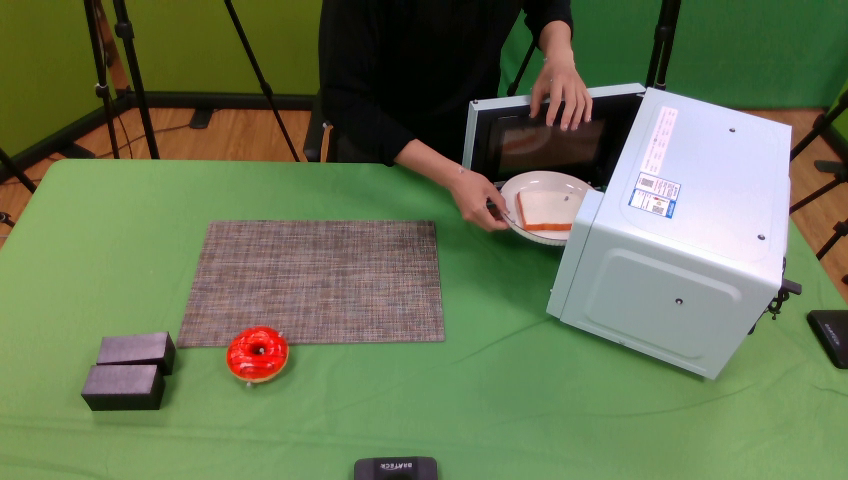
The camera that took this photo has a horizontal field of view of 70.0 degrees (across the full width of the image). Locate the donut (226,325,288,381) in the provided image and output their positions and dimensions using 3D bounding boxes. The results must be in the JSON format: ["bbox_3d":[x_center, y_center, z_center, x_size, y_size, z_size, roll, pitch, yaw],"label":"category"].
[{"bbox_3d":[-0.270,0.182,0.984,0.099,0.048,0.098,5,49,-5],"label":"donut"}]

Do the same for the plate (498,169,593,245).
[{"bbox_3d":[0.243,-0.060,1.160,0.208,0.039,0.206,2,43,-2],"label":"plate"}]

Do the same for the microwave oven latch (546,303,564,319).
[{"bbox_3d":[0.242,0.102,1.081,0.030,0.029,0.079,22,48,17],"label":"microwave oven latch"}]

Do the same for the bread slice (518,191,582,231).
[{"bbox_3d":[0.251,-0.058,1.162,0.131,0.019,0.104,-2,45,-3],"label":"bread slice"}]

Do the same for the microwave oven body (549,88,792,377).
[{"bbox_3d":[0.456,-0.028,1.088,0.325,0.261,0.440,20,47,16],"label":"microwave oven body"}]

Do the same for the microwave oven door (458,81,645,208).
[{"bbox_3d":[0.252,-0.190,1.221,0.356,0.245,0.039,-9,47,-12],"label":"microwave oven door"}]
